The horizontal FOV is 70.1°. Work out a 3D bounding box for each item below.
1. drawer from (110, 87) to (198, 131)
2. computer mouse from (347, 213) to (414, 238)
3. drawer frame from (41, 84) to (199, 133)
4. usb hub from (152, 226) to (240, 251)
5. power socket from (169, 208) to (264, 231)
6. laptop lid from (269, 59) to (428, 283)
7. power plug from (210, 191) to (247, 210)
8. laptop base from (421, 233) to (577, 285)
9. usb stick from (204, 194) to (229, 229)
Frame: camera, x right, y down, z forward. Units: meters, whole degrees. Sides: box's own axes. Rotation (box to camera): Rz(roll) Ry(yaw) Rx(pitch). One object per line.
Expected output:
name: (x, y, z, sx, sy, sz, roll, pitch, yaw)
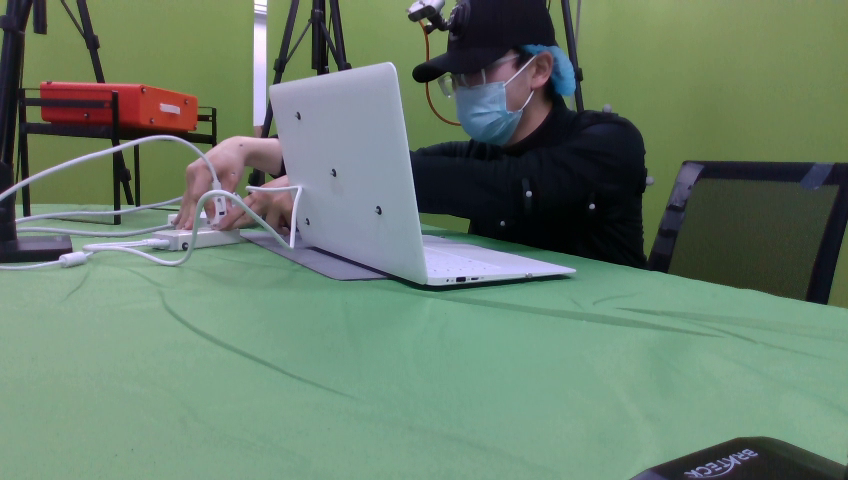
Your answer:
drawer: (-0.602, -0.263, 1.225, 0.211, 0.073, 0.195, 3, 8, 10)
computer mouse: (-0.079, -0.025, 1.080, 0.117, 0.041, 0.062, -5, 12, -18)
drawer frame: (-0.605, -0.264, 1.225, 0.213, 0.082, 0.202, 3, 8, 8)
usb hub: (-0.339, -0.003, 0.907, 0.049, 0.025, 0.125, 7, 9, 27)
power socket: (-0.381, -0.038, 1.128, 0.072, 0.032, 0.227, 4, 8, 17)
laptop lid: (-0.110, -0.087, 0.752, 0.013, 0.241, 0.355, -18, 19, -30)
power plug: (-0.387, -0.070, 1.204, 0.072, 0.052, 0.035, 7, 11, 25)
laptop base: (0.007, 0.022, 0.850, 0.237, 0.023, 0.352, 1, 7, -34)
usb stick: (-0.322, -0.040, 0.938, 0.027, 0.059, 0.021, 11, 3, 16)
